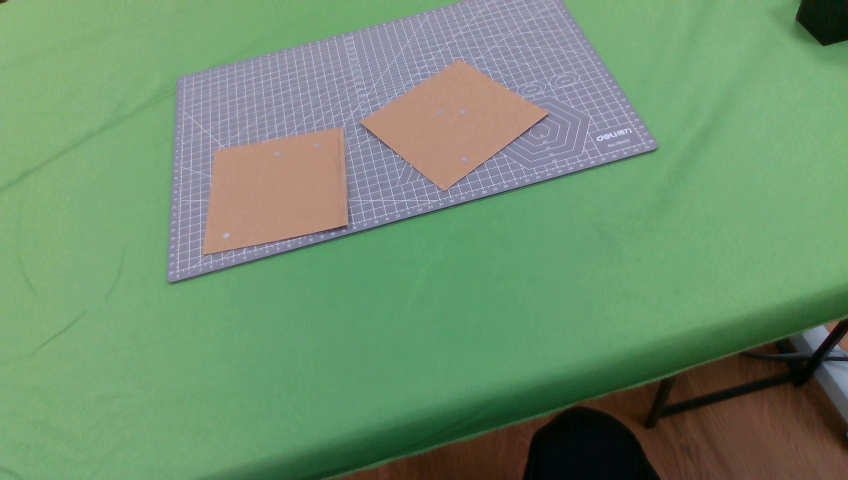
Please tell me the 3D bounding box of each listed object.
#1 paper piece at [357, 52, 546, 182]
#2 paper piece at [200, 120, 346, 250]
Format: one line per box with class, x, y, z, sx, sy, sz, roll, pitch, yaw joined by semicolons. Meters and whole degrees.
paper piece;0.025;-0.127;0.596;0.135;0.004;0.134;-37;57;-17
paper piece;-0.143;-0.057;0.578;0.138;0.009;0.134;-11;50;4
